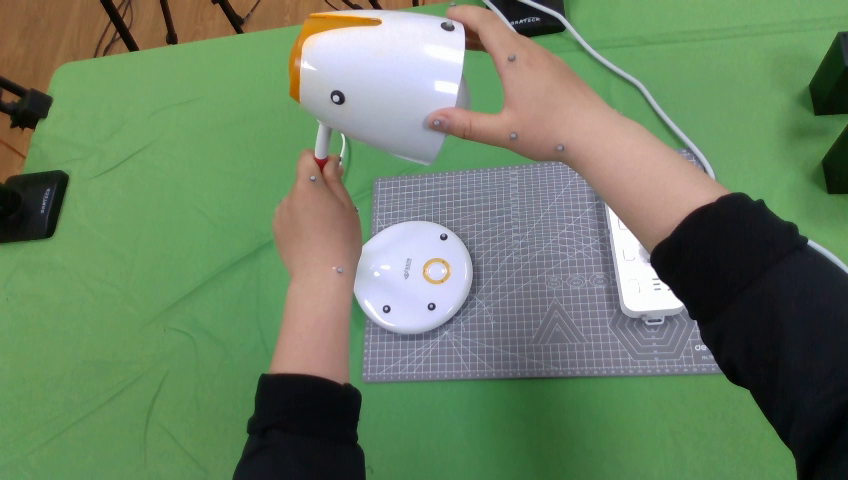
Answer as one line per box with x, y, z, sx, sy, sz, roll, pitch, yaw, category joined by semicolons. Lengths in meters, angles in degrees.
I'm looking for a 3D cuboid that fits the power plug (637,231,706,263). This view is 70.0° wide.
0.292;0.011;0.722;0.072;0.053;0.035;6;69;12;power plug

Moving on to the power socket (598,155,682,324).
0.267;-0.008;0.757;0.072;0.033;0.225;-6;65;9;power socket

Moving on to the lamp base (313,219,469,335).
-0.048;0.018;0.734;0.179;0.182;0.159;-9;65;12;lamp base

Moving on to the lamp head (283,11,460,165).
-0.045;-0.120;0.464;0.123;0.113;0.111;7;66;-9;lamp head

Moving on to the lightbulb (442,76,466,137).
-0.020;-0.114;0.462;0.108;0.059;0.059;16;69;-10;lightbulb
